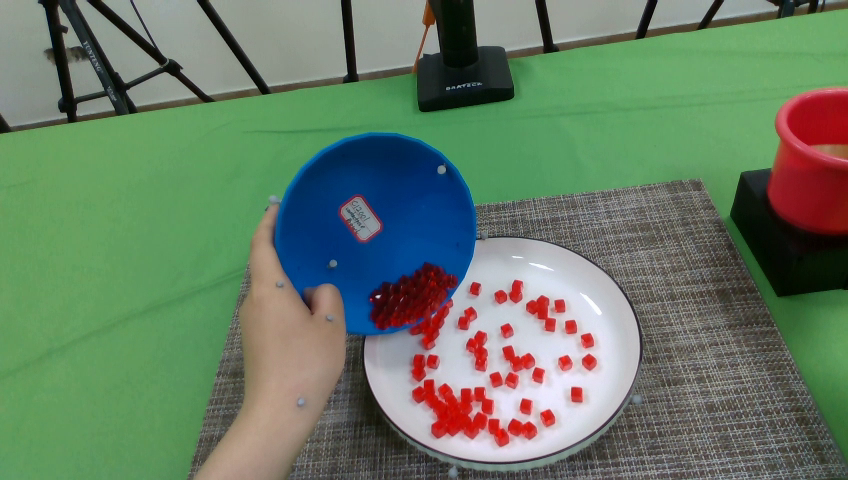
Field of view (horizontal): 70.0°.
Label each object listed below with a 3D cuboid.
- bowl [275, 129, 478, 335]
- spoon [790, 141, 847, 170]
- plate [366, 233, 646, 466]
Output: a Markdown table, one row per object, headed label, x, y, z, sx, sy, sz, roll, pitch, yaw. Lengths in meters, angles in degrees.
| label | x | y | z | sx | sy | sz | roll | pitch | yaw |
| --- | --- | --- | --- | --- | --- | --- | --- | --- | --- |
| bowl | -0.042 | -0.011 | 0.466 | 0.151 | 0.152 | 0.076 | -24 | 21 | -13 |
| spoon | 0.304 | -0.065 | 0.368 | 0.041 | 0.193 | 0.021 | -25 | 91 | -10 |
| plate | 0.060 | 0.079 | 0.467 | 0.207 | 0.039 | 0.205 | -6 | 44 | 6 |
